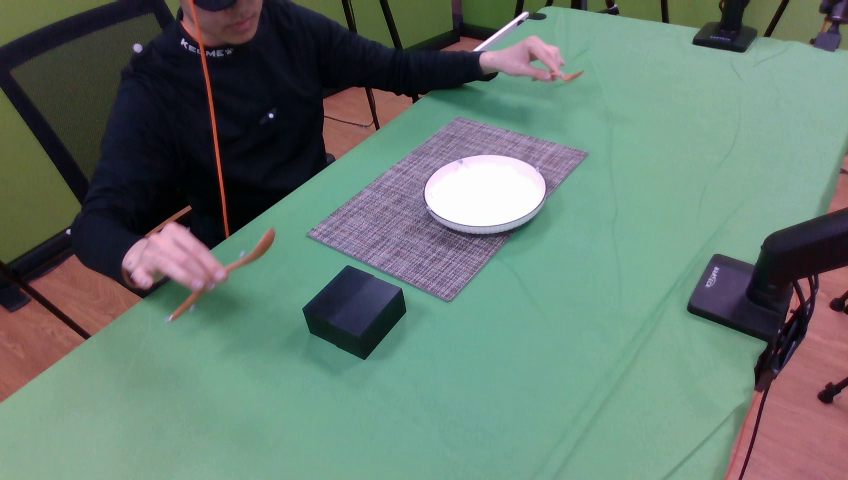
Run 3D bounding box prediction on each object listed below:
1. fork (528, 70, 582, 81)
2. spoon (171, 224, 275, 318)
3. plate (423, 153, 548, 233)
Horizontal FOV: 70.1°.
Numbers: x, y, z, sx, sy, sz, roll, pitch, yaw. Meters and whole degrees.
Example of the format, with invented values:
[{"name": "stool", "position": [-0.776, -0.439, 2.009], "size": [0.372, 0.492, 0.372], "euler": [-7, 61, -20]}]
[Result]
[{"name": "fork", "position": [0.249, -0.320, 1.180], "size": [0.028, 0.019, 0.206], "euler": [-21, 19, -9]}, {"name": "spoon", "position": [-0.258, 0.042, 0.773], "size": [0.193, 0.021, 0.041], "euler": [-35, 5, 15]}, {"name": "plate", "position": [0.104, -0.076, 1.024], "size": [0.209, 0.038, 0.208], "euler": [-4, 40, 4]}]
